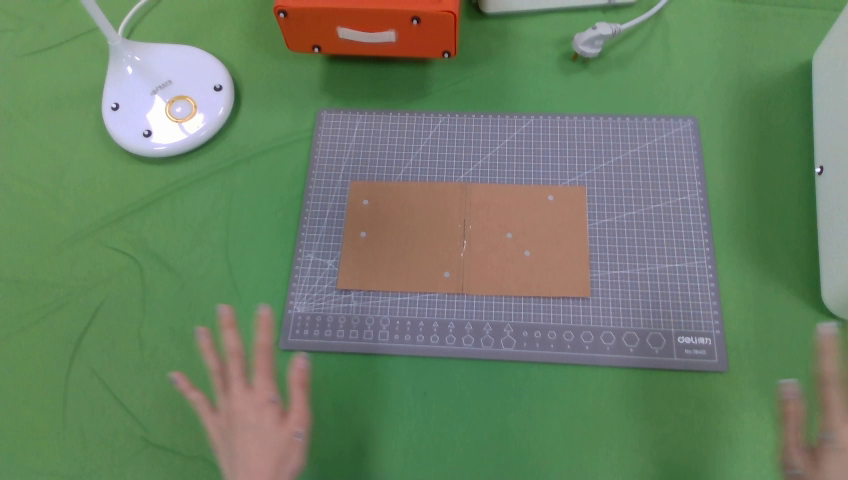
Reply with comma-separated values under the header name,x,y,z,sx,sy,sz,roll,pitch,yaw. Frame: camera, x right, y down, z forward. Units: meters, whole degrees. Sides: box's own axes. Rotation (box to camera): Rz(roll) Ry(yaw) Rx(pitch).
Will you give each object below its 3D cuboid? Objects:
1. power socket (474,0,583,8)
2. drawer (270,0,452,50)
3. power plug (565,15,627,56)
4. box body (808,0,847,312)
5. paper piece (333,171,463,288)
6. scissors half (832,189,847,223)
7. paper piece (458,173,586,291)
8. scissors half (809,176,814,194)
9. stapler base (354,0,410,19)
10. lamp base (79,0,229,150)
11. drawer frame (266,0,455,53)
name,x,y,z,sx,sy,sz,roll,pitch,yaw
power socket,0.166,-0.342,0.779,0.227,0.033,0.071,-3,68,1
drawer,-0.060,-0.328,0.711,0.194,0.074,0.210,3,67,5
power plug,0.207,-0.244,0.734,0.073,0.053,0.035,2,63,-17
box body,0.537,-0.095,0.588,0.254,0.161,0.362,9,68,7
paper piece,-0.027,-0.014,0.665,0.136,0.009,0.137,1,69,7
scissors half,0.500,-0.076,0.658,0.040,0.013,0.175,44,73,9
paper piece,0.106,-0.011,0.656,0.135,0.004,0.135,2,68,4
scissors half,0.488,-0.091,0.663,0.175,0.013,0.039,-26,70,-13
stapler base,-0.076,-0.309,0.723,0.130,0.024,0.041,32,89,17
lamp base,-0.332,-0.216,0.672,0.178,0.181,0.160,34,72,18
drawer frame,-0.061,-0.330,0.712,0.201,0.083,0.212,3,67,5
